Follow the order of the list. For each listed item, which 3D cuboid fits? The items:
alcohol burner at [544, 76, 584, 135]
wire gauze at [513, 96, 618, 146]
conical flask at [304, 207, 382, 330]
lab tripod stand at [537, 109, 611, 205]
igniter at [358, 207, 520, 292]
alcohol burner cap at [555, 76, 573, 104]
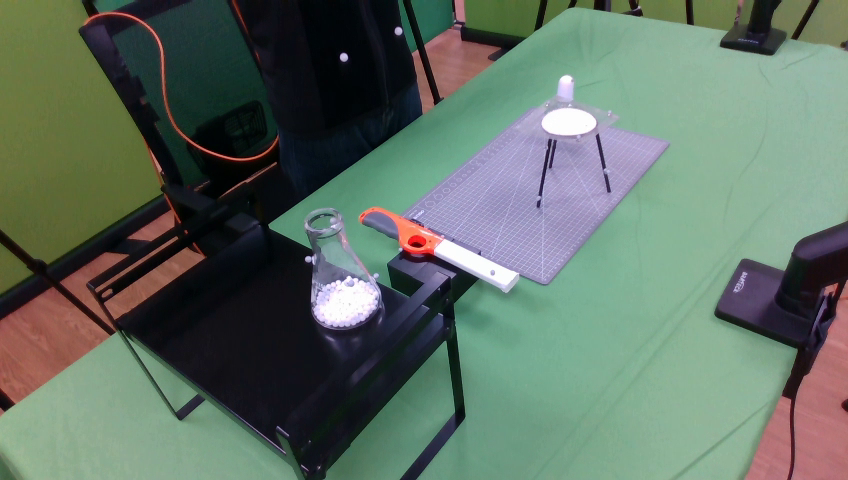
[{"bbox_3d":[0.269,-0.256,1.161,0.078,0.119,0.077,-5,38,5],"label":"alcohol burner"},{"bbox_3d":[0.229,-0.190,0.969,0.120,0.011,0.125,26,50,33],"label":"wire gauze"},{"bbox_3d":[-0.088,0.025,0.601,0.075,0.122,0.075,-5,40,5],"label":"conical flask"},{"bbox_3d":[0.244,-0.141,1.014,0.148,0.132,0.147,-3,39,3],"label":"lab tripod stand"},{"bbox_3d":[0.014,0.008,0.886,0.274,0.025,0.057,25,52,29],"label":"igniter"},{"bbox_3d":[0.266,-0.284,1.139,0.034,0.048,0.033,-1,34,1],"label":"alcohol burner cap"}]
